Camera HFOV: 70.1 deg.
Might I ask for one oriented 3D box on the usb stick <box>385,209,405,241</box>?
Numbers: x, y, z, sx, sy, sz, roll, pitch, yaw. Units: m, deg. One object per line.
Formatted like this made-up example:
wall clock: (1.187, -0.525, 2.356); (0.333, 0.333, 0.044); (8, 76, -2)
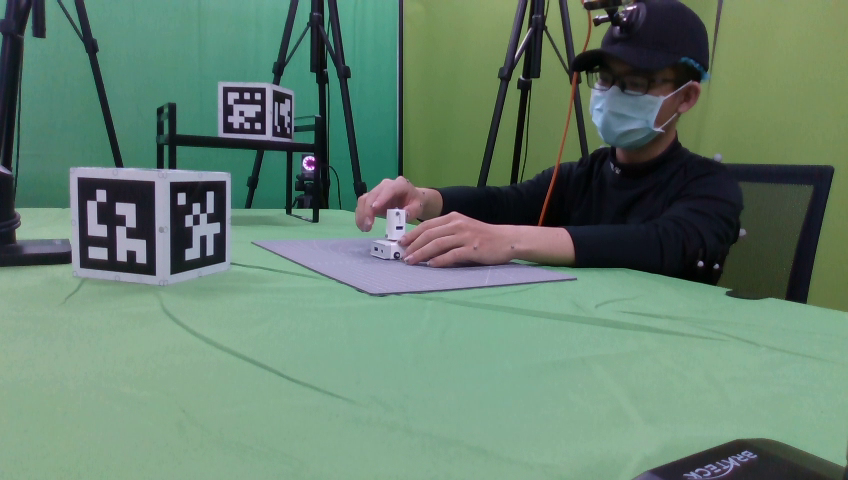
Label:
usb stick: (-0.044, -0.016, 0.892); (0.021, 0.059, 0.027); (-2, 9, -34)

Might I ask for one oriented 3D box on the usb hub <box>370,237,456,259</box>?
usb hub: (-0.016, 0.012, 0.909); (0.126, 0.025, 0.049); (-3, 8, -32)
